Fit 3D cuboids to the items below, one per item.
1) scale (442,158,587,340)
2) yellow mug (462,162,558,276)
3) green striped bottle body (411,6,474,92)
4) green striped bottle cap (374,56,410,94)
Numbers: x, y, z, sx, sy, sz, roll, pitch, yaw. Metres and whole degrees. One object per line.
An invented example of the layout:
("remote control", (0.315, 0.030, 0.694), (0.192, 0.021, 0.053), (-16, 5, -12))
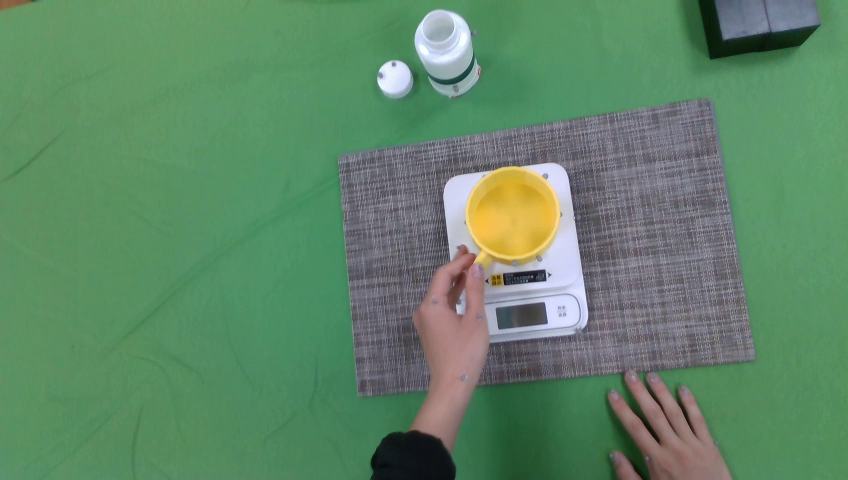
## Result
("scale", (0.102, 0.010, 0.701), (0.148, 0.032, 0.200), (-8, 82, 9))
("yellow mug", (0.085, -0.015, 0.658), (0.099, 0.064, 0.131), (33, 90, 11))
("green striped bottle body", (0.022, -0.223, 0.701), (0.063, 0.120, 0.063), (-1, 82, 10))
("green striped bottle cap", (-0.040, -0.208, 0.764), (0.044, 0.020, 0.044), (0, 88, 8))
